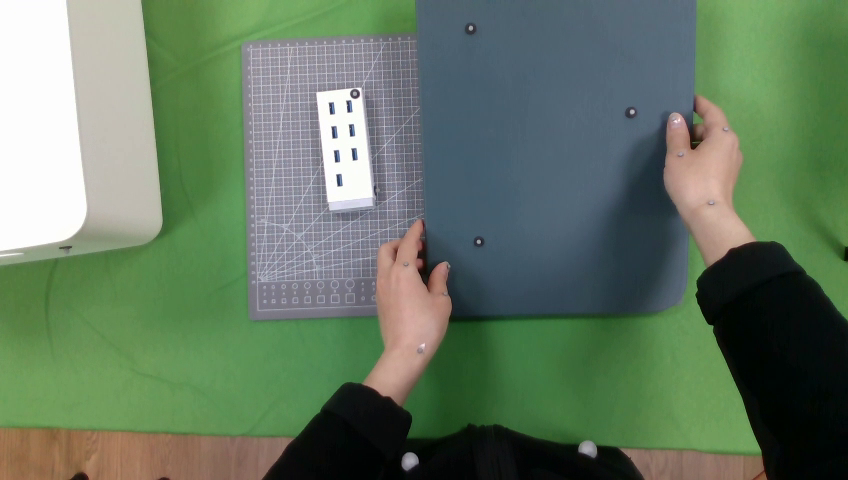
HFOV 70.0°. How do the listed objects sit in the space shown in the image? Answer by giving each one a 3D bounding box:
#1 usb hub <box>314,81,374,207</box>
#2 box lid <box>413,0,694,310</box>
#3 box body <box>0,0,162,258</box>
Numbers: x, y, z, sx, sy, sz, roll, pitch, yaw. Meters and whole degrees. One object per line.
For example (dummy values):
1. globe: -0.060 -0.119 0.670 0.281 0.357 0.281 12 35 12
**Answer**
1. usb hub: -0.083 -0.100 0.630 0.049 0.025 0.125 -6 88 2
2. box lid: 0.124 -0.109 0.591 0.263 0.015 0.372 -2 100 3
3. box body: -0.417 -0.163 0.581 0.254 0.160 0.363 -8 87 2
